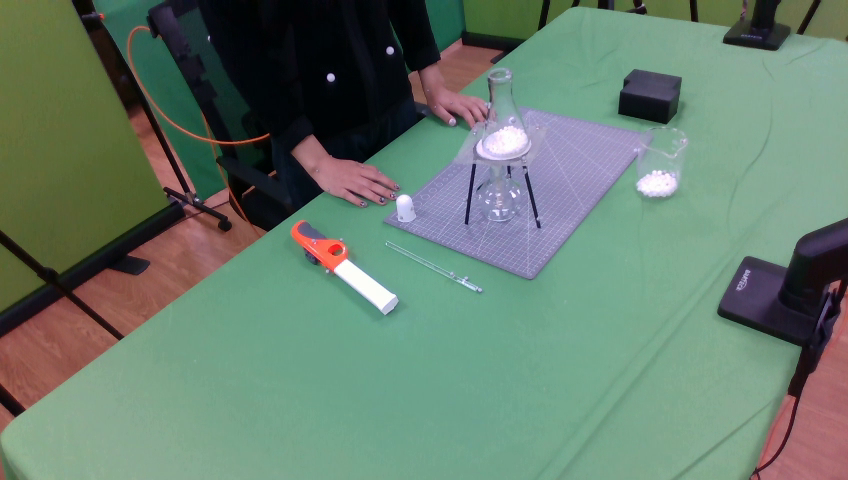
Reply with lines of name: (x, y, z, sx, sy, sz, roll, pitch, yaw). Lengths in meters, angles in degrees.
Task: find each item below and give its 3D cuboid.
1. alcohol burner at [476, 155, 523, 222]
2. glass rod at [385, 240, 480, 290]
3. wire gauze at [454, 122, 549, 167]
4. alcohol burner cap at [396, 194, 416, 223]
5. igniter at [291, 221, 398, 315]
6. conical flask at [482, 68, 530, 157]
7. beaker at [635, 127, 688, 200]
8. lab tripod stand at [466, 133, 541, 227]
alcohol burner: (0.123, -0.089, 0.991, 0.078, 0.120, 0.077, -7, 41, 6)
glass rod: (0.009, 0.037, 0.950, 0.198, 0.008, 0.008, 26, 52, 35)
wire gauze: (0.122, -0.149, 0.943, 0.121, 0.011, 0.125, 7, 44, 22)
alcohol burner cap: (-0.032, -0.056, 1.036, 0.034, 0.048, 0.033, -6, 40, 6)
igniter: (-0.136, 0.037, 0.962, 0.057, 0.025, 0.274, -41, 48, -18)
conical flask: (0.118, -0.192, 0.902, 0.075, 0.122, 0.075, -7, 39, 6)
beaker: (0.388, -0.122, 0.994, 0.074, 0.101, 0.083, -8, 40, 2)
lab tripod stand: (0.130, -0.099, 0.985, 0.148, 0.132, 0.147, -6, 39, 6)
